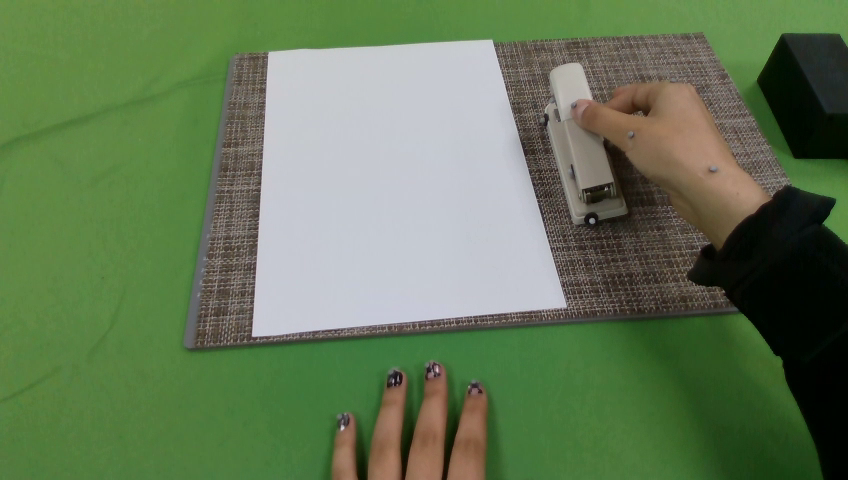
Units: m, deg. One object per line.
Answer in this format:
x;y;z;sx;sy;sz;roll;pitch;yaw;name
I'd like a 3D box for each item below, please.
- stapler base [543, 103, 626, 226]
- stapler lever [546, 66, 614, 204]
0.123;-0.071;0.479;0.041;0.025;0.129;-15;55;13;stapler base
0.116;-0.083;0.458;0.027;0.040;0.117;-15;54;13;stapler lever
